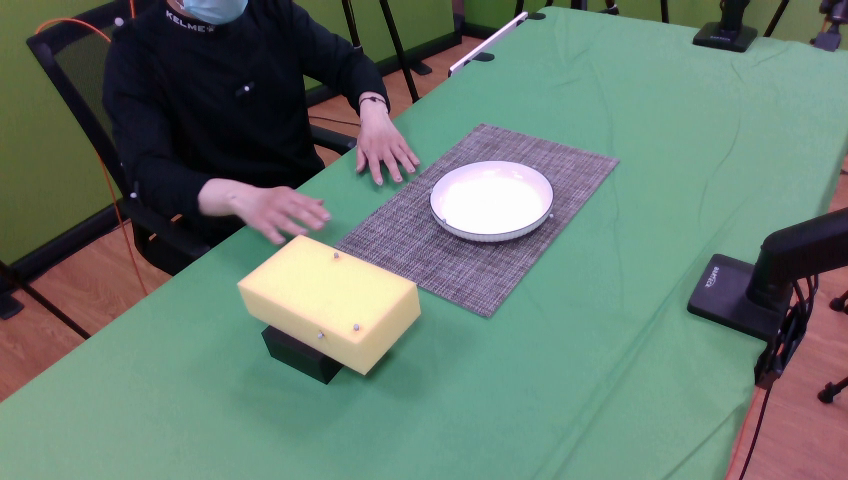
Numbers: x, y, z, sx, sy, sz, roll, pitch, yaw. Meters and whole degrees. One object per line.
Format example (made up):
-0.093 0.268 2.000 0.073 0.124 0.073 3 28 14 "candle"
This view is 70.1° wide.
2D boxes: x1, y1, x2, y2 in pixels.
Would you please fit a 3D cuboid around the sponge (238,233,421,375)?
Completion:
-0.123 0.077 0.791 0.205 0.061 0.118 21 48 28 "sponge"

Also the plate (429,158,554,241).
0.112 -0.065 1.011 0.207 0.039 0.206 -4 41 4 "plate"
